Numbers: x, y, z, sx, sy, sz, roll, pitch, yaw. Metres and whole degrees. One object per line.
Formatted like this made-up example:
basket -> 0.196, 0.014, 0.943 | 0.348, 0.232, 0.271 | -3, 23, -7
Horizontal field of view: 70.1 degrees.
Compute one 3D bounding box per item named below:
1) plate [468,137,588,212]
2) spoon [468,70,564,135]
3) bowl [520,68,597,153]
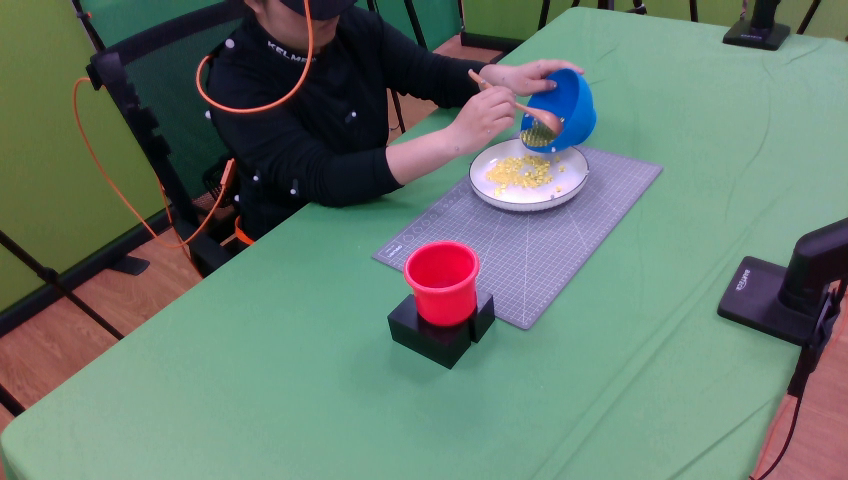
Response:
plate -> 0.182, -0.111, 1.064 | 0.207, 0.039, 0.206 | -5, 40, 5
spoon -> 0.155, -0.229, 1.010 | 0.194, 0.021, 0.041 | 27, 46, -6
bowl -> 0.246, -0.213, 1.054 | 0.077, 0.151, 0.150 | 19, 32, -27
